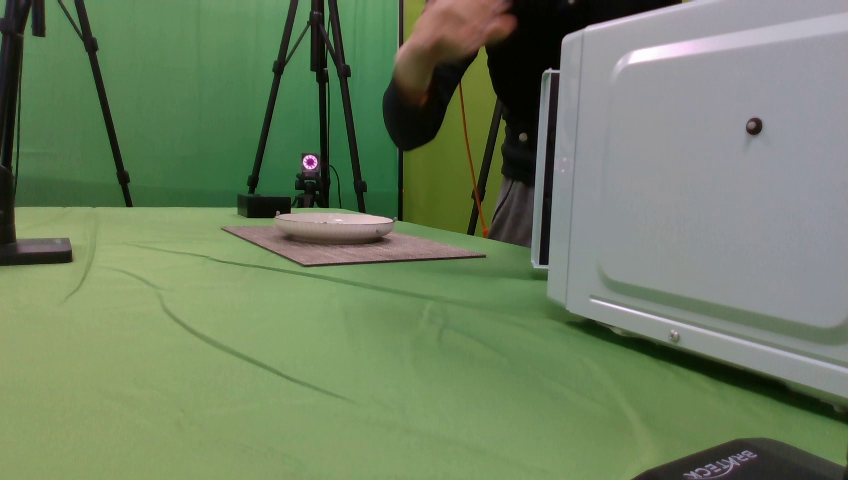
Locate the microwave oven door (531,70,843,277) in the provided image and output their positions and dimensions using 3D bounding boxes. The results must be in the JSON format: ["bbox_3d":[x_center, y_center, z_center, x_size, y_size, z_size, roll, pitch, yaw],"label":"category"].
[{"bbox_3d":[0.318,-0.082,0.747,0.356,0.243,0.039,2,7,2],"label":"microwave oven door"}]

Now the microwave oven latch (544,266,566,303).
[{"bbox_3d":[0.147,0.039,0.555,0.079,0.029,0.030,-2,7,-29],"label":"microwave oven latch"}]

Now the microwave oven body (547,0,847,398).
[{"bbox_3d":[0.378,-0.045,0.509,0.444,0.260,0.324,-2,8,-31],"label":"microwave oven body"}]

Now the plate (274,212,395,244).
[{"bbox_3d":[-0.157,-0.022,1.067,0.209,0.038,0.209,2,8,0],"label":"plate"}]
